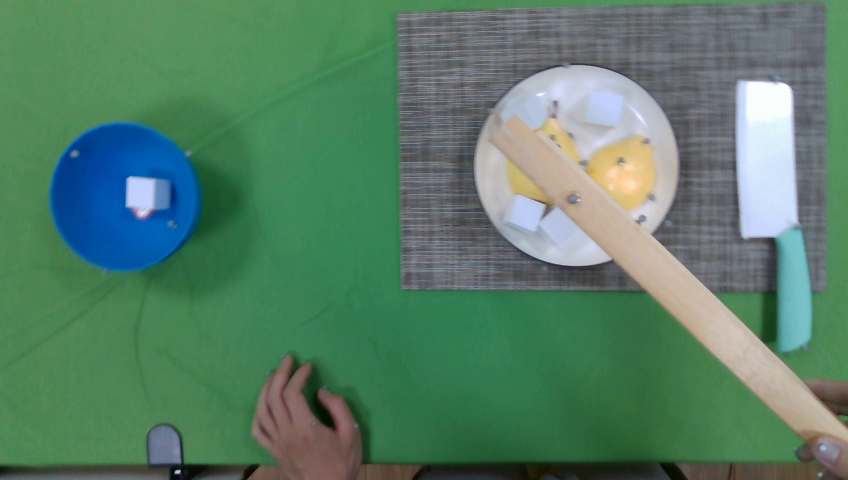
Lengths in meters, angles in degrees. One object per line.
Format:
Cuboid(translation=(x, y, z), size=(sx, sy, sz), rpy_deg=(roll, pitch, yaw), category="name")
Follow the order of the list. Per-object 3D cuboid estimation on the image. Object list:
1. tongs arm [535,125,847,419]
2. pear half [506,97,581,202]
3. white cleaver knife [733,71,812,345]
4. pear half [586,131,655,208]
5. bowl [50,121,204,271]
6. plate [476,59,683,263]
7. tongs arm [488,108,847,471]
Cuboid(translation=(0.214, 0.045, 0.474), size=(0.383, 0.051, 0.026), rpy_deg=(46, 105, 11), category="tongs arm")
Cuboid(translation=(0.126, -0.096, 0.619), size=(0.076, 0.056, 0.109), rpy_deg=(9, 88, -1), category="pear half")
Cuboid(translation=(0.363, -0.034, 0.636), size=(0.066, 0.021, 0.286), rpy_deg=(-4, 88, 12), category="white cleaver knife")
Cuboid(translation=(0.207, -0.073, 0.624), size=(0.070, 0.031, 0.088), rpy_deg=(31, 99, -1), category="pear half")
Cuboid(translation=(-0.297, -0.044, 0.639), size=(0.151, 0.077, 0.151), rpy_deg=(0, 92, 2), category="bowl")
Cuboid(translation=(0.158, -0.080, 0.632), size=(0.207, 0.039, 0.207), rpy_deg=(0, 92, 3), category="plate")
Cuboid(translation=(0.191, 0.052, 0.403), size=(0.387, 0.028, 0.028), rpy_deg=(43, 101, 0), category="tongs arm")
